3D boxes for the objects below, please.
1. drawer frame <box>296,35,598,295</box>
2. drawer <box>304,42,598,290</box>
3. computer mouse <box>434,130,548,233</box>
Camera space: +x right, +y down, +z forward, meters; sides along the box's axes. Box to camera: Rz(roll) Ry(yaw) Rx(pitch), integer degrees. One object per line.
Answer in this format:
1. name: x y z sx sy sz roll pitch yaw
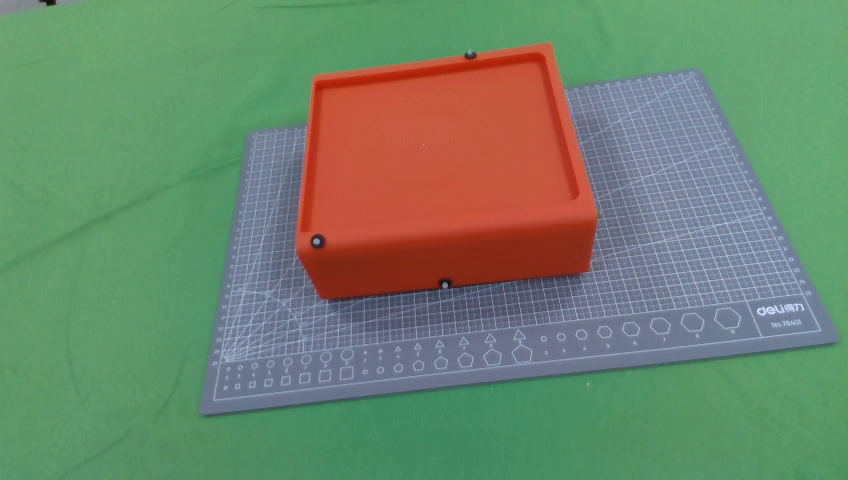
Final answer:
1. drawer frame: 0.016 -0.064 0.496 0.213 0.083 0.199 -7 54 4
2. drawer: 0.018 -0.064 0.498 0.211 0.074 0.192 -7 54 5
3. computer mouse: 0.056 -0.056 0.500 0.062 0.041 0.116 12 49 27
